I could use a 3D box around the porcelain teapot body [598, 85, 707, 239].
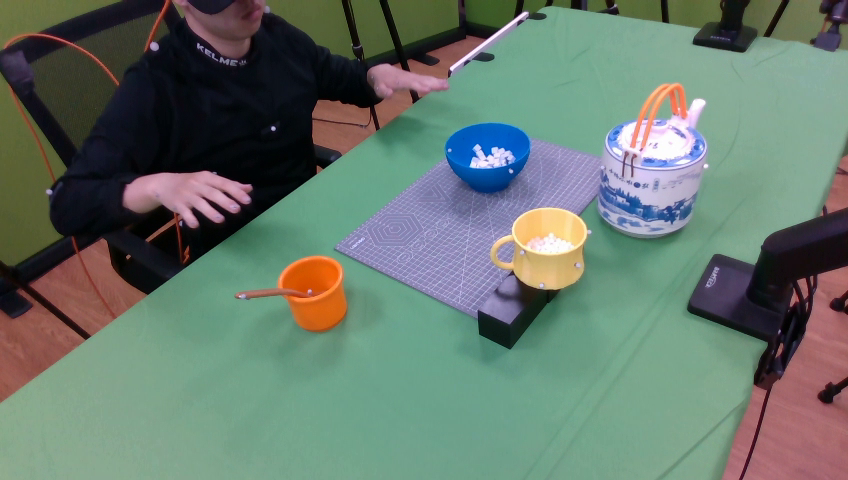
[{"bbox_3d":[0.363,-0.137,0.921,0.144,0.226,0.206,28,51,36],"label":"porcelain teapot body"}]

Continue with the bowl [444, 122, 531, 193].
[{"bbox_3d":[0.113,-0.136,1.063,0.151,0.077,0.150,-4,41,4],"label":"bowl"}]

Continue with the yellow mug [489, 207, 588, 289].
[{"bbox_3d":[0.154,0.013,0.820,0.131,0.064,0.099,-8,40,0],"label":"yellow mug"}]

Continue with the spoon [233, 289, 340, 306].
[{"bbox_3d":[-0.180,0.075,0.811,0.041,0.195,0.021,18,91,31],"label":"spoon"}]

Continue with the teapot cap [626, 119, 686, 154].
[{"bbox_3d":[0.338,-0.153,0.882,0.085,0.044,0.085,-3,38,3],"label":"teapot cap"}]
